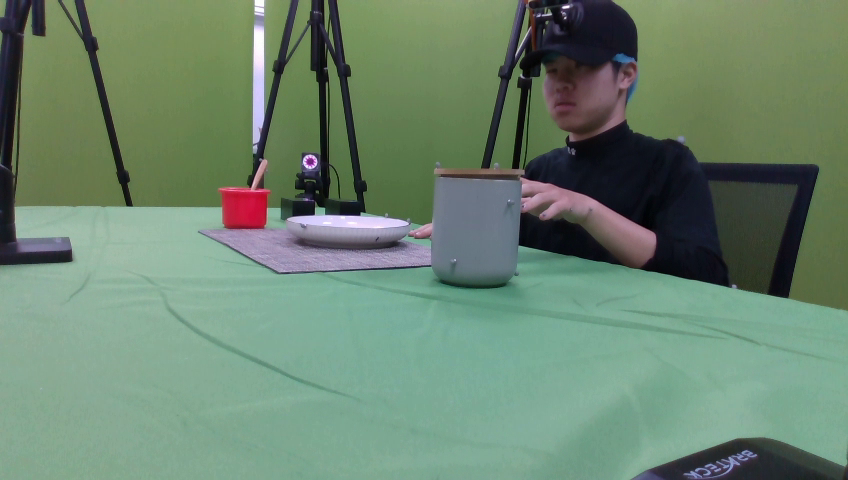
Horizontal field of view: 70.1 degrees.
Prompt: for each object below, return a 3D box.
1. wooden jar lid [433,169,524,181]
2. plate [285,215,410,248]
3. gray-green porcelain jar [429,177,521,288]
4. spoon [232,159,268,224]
[{"bbox_3d":[0.064,-0.074,0.717,0.108,0.020,0.108,0,5,0],"label":"wooden jar lid"},{"bbox_3d":[-0.127,-0.015,1.012,0.208,0.039,0.207,3,7,0],"label":"plate"},{"bbox_3d":[0.060,-0.011,0.725,0.106,0.126,0.106,2,7,0],"label":"gray-green porcelain jar"},{"bbox_3d":[-0.343,-0.101,1.218,0.041,0.021,0.193,4,51,4],"label":"spoon"}]
